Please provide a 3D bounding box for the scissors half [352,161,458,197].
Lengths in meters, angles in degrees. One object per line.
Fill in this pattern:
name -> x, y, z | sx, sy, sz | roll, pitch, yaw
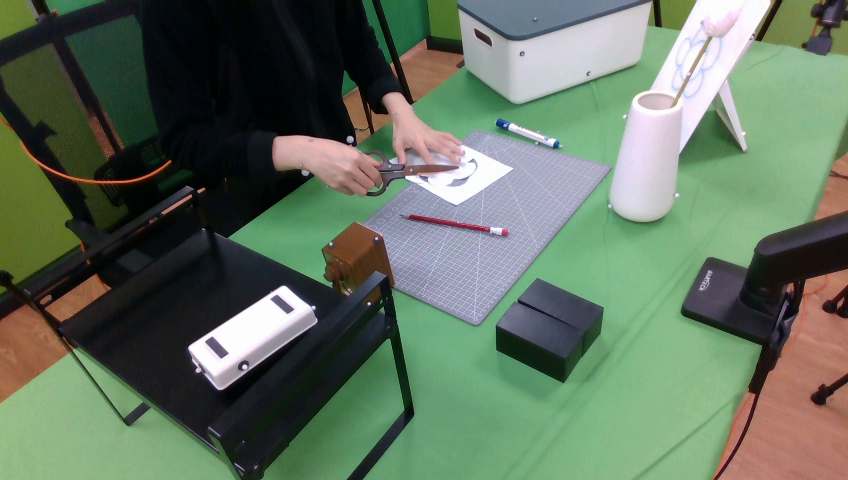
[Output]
scissors half -> -0.030, -0.099, 0.935 | 0.174, 0.040, 0.013 | -13, -6, 16

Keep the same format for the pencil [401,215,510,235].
pencil -> 0.049, -0.027, 1.006 | 0.193, 0.012, 0.012 | 10, 43, 21

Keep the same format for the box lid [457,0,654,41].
box lid -> 0.285, -0.522, 1.323 | 0.373, 0.015, 0.261 | -22, 43, -16

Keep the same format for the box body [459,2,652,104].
box body -> 0.291, -0.465, 1.371 | 0.365, 0.161, 0.252 | -22, 42, -16

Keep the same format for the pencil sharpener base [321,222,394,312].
pencil sharpener base -> -0.096, 0.041, 0.873 | 0.061, 0.107, 0.077 | 26, 54, 32

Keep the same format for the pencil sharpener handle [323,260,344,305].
pencil sharpener handle -> -0.131, 0.062, 0.839 | 0.035, 0.068, 0.031 | 29, 55, 28

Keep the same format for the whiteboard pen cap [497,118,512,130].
whiteboard pen cap -> 0.165, -0.235, 1.227 | 0.033, 0.018, 0.018 | 31, 53, 31

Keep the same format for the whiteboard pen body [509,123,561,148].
whiteboard pen body -> 0.208, -0.211, 1.196 | 0.139, 0.017, 0.017 | 30, 52, 33

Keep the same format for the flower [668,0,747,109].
flower -> 0.354, -0.187, 0.879 | 0.038, 0.362, 0.044 | 30, 48, 14

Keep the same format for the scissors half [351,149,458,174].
scissors half -> -0.032, -0.119, 0.936 | 0.174, 0.040, 0.013 | 5, 5, 16

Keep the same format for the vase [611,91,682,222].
vase -> 0.348, -0.125, 0.935 | 0.098, 0.201, 0.097 | -3, 40, 3

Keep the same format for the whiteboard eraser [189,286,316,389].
whiteboard eraser -> -0.166, 0.096, 0.593 | 0.113, 0.042, 0.055 | -36, 47, -29

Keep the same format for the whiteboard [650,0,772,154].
whiteboard -> 0.543, -0.298, 1.076 | 0.144, 0.305, 0.216 | 12, 40, -7
